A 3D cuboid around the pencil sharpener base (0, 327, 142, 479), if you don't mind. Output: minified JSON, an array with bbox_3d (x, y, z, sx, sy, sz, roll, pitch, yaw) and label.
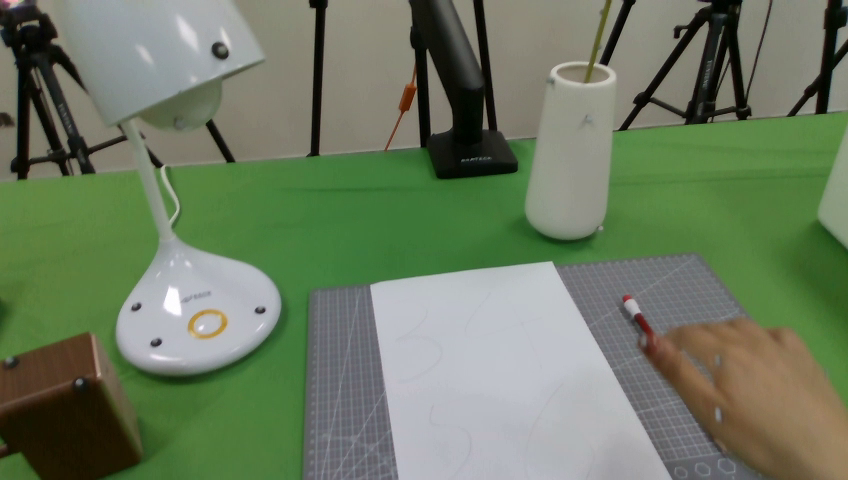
[{"bbox_3d":[-0.277,0.134,0.472,0.077,0.108,0.060,-19,41,-22],"label":"pencil sharpener base"}]

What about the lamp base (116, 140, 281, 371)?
[{"bbox_3d":[-0.238,0.005,0.584,0.161,0.182,0.177,-26,41,-30],"label":"lamp base"}]

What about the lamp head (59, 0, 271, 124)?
[{"bbox_3d":[-0.175,-0.148,0.381,0.112,0.123,0.112,-25,16,8],"label":"lamp head"}]

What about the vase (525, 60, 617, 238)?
[{"bbox_3d":[0.171,-0.101,0.704,0.098,0.202,0.097,-1,36,1],"label":"vase"}]

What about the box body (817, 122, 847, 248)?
[{"bbox_3d":[0.615,-0.001,0.592,0.254,0.162,0.360,-4,37,-4],"label":"box body"}]

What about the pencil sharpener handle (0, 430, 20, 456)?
[{"bbox_3d":[-0.322,0.139,0.446,0.031,0.068,0.035,-19,44,-22],"label":"pencil sharpener handle"}]

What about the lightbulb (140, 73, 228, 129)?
[{"bbox_3d":[-0.164,-0.124,0.383,0.059,0.108,0.059,-15,16,5],"label":"lightbulb"}]

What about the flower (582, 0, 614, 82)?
[{"bbox_3d":[0.167,-0.154,0.637,0.044,0.364,0.038,32,60,18],"label":"flower"}]

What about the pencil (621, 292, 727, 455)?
[{"bbox_3d":[0.229,0.116,0.565,0.012,0.012,0.192,-7,39,-8],"label":"pencil"}]
